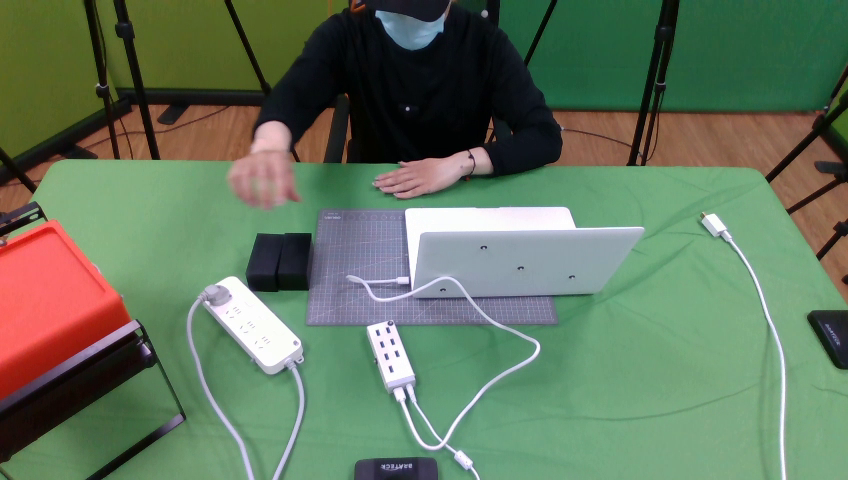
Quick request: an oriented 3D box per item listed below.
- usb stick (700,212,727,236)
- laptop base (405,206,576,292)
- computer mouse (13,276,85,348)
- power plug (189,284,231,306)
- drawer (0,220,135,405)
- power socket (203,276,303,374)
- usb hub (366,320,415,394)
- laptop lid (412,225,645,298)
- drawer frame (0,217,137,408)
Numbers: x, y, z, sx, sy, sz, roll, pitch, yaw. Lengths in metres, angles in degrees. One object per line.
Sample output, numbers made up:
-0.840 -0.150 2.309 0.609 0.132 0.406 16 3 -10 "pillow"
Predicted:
0.606 -0.038 1.273 0.027 0.021 0.059 -18 56 -20 "usb stick"
0.143 0.018 1.196 0.355 0.023 0.234 -1 43 -6 "laptop base"
-0.496 0.090 0.804 0.063 0.041 0.116 -7 42 -7 "computer mouse"
-0.368 0.100 1.037 0.072 0.053 0.035 -24 54 -26 "power plug"
-0.522 0.093 0.782 0.193 0.073 0.211 38 55 27 "drawer"
-0.296 0.141 1.034 0.072 0.033 0.225 -35 58 -30 "power socket"
-0.056 0.192 1.009 0.049 0.025 0.124 -12 49 -16 "usb hub"
0.161 0.042 1.012 0.357 0.242 0.013 0 59 -7 "laptop lid"
-0.523 0.094 0.779 0.200 0.083 0.213 37 55 26 "drawer frame"
